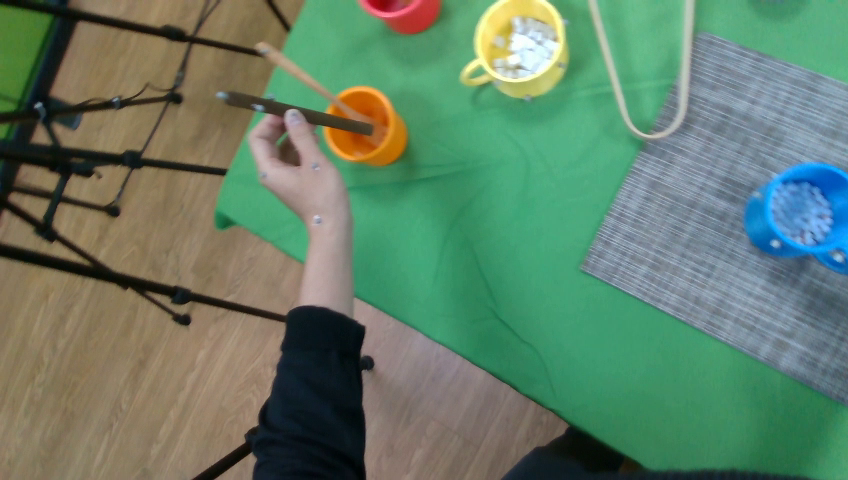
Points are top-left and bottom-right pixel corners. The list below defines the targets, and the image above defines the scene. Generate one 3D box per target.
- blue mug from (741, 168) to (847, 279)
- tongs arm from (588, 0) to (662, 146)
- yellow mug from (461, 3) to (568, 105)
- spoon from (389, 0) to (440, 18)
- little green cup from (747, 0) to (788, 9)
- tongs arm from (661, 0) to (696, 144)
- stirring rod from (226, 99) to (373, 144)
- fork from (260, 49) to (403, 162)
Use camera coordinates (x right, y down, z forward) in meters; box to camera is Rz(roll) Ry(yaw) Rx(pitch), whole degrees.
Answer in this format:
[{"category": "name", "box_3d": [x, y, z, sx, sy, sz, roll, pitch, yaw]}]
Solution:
[{"category": "blue mug", "box_3d": [0.382, -0.009, 0.602, 0.082, 0.106, 0.116, -38, 77, 11]}, {"category": "tongs arm", "box_3d": [0.206, -0.292, 0.690, 0.050, 0.026, 0.384, -12, 90, 12]}, {"category": "yellow mug", "box_3d": [0.103, -0.211, 0.721, 0.131, 0.064, 0.099, -26, 80, 15]}, {"category": "spoon", "box_3d": [-0.070, -0.306, 0.736, 0.195, 0.021, 0.041, 4, 85, -28]}, {"category": "little green cup", "box_3d": [0.380, -0.284, 0.659, 0.061, 0.039, 0.061, -1, 87, 17]}, {"category": "tongs arm", "box_3d": [0.287, -0.302, 0.670, 0.028, 0.028, 0.387, 2, 94, 8]}, {"category": "stirring rod", "box_3d": [-0.120, -0.120, 0.621, 0.005, 0.177, 0.014, 27, 106, 41]}, {"category": "fork", "box_3d": [-0.109, -0.161, 0.735, 0.209, 0.018, 0.028, 35, 97, -28]}]
